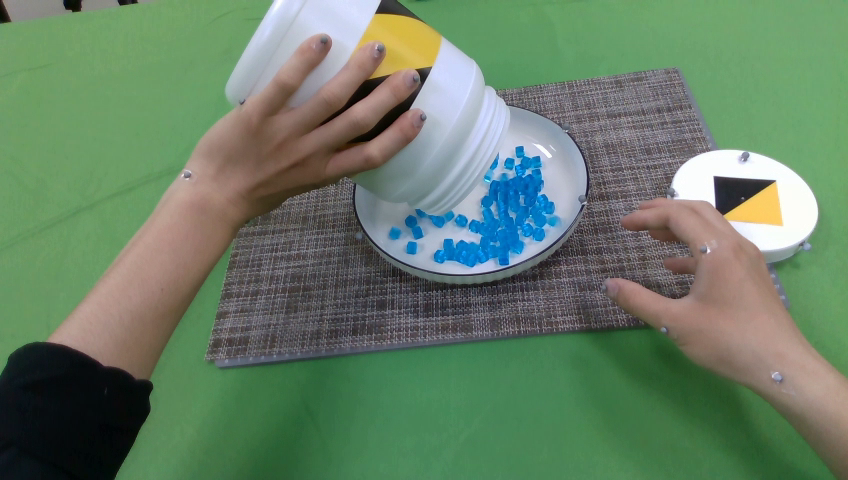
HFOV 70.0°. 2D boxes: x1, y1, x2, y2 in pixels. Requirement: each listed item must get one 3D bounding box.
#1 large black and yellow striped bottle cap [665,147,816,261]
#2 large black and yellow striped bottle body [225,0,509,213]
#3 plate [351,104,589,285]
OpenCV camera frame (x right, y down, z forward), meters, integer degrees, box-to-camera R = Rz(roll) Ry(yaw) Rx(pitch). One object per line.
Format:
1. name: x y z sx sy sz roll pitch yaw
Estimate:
1. large black and yellow striped bottle cap: 0.264 -0.033 0.507 0.115 0.019 0.114 -2 53 3
2. large black and yellow striped bottle body: -0.038 -0.112 0.461 0.185 0.131 0.130 32 53 -20
3. plate: 0.041 -0.043 0.541 0.207 0.039 0.205 -5 52 6
